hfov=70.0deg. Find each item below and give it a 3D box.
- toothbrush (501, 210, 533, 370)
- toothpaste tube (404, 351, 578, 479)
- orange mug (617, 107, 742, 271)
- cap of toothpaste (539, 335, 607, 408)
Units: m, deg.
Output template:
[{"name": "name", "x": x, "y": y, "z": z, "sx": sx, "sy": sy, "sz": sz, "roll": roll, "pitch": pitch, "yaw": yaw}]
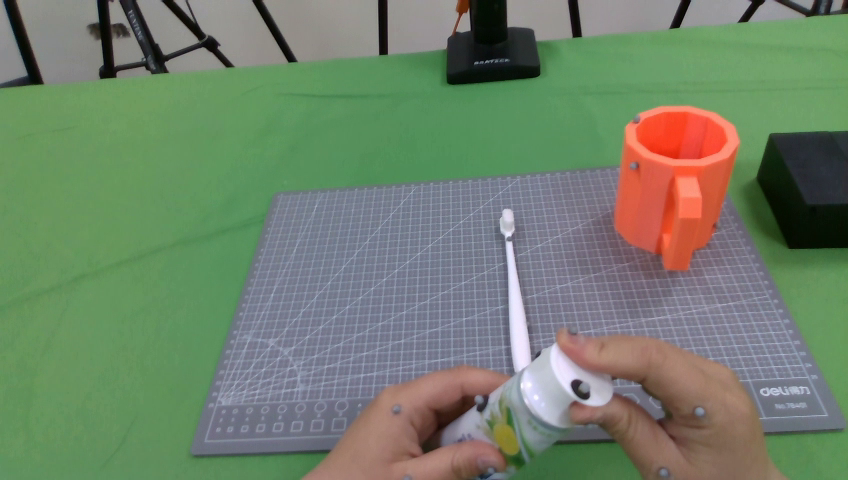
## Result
[{"name": "toothbrush", "x": 0.077, "y": 0.039, "z": 0.504, "sx": 0.014, "sy": 0.017, "sz": 0.180, "roll": 5, "pitch": 45, "yaw": -3}, {"name": "toothpaste tube", "x": 0.035, "y": 0.109, "z": 0.334, "sx": 0.034, "sy": 0.166, "sz": 0.054, "roll": -15, "pitch": 60, "yaw": -41}, {"name": "orange mug", "x": 0.210, "y": -0.039, "z": 0.504, "sx": 0.083, "sy": 0.102, "sz": 0.125, "roll": 2, "pitch": 40, "yaw": 12}, {"name": "cap of toothpaste", "x": 0.068, "y": 0.062, "z": 0.281, "sx": 0.037, "sy": 0.011, "sz": 0.037, "roll": 18, "pitch": 45, "yaw": -18}]
